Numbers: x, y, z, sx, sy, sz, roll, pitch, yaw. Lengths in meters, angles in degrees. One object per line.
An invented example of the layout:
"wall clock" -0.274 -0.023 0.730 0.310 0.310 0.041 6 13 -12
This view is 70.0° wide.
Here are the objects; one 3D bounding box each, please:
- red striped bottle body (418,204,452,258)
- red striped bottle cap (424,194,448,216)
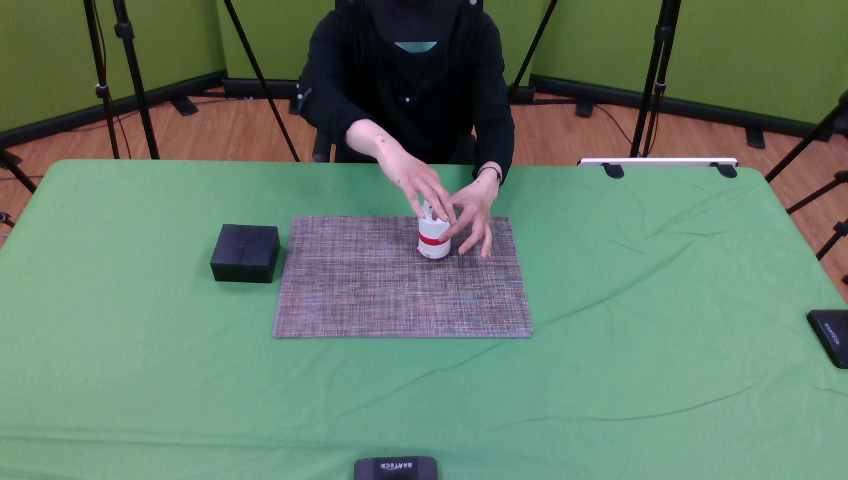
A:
"red striped bottle body" 0.021 -0.027 1.137 0.063 0.120 0.062 0 46 1
"red striped bottle cap" 0.021 -0.064 1.099 0.044 0.018 0.044 -2 45 2
